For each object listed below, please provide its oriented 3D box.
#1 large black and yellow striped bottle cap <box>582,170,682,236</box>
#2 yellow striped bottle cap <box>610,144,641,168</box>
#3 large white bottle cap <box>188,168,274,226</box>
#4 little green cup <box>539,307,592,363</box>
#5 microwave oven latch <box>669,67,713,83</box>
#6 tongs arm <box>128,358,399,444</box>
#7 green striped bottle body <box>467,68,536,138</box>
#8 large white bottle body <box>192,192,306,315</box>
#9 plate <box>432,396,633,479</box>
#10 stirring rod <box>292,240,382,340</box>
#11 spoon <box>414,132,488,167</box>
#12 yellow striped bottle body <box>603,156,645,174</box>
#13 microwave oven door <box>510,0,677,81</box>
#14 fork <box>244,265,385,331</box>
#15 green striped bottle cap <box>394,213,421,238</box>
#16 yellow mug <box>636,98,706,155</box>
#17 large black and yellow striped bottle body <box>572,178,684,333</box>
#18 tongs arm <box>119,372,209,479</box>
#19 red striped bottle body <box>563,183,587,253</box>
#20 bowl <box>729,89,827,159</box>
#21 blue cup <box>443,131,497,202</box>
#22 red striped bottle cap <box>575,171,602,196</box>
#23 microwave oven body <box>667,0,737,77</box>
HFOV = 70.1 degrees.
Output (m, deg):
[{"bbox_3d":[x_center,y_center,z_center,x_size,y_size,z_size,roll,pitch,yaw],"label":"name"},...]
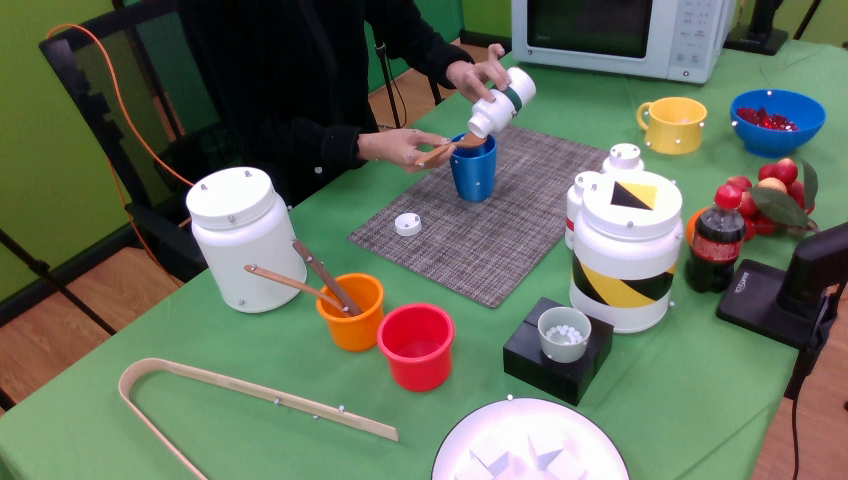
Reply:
[{"bbox_3d":[0.252,-0.048,0.735,0.115,0.019,0.114,-3,40,3],"label":"large black and yellow striped bottle cap"},{"bbox_3d":[0.307,-0.128,0.923,0.044,0.019,0.044,-6,39,5],"label":"yellow striped bottle cap"},{"bbox_3d":[-0.264,-0.061,0.831,0.115,0.018,0.114,-4,40,4],"label":"large white bottle cap"},{"bbox_3d":[0.168,0.115,0.721,0.061,0.039,0.061,-4,42,4],"label":"little green cup"},{"bbox_3d":[0.556,-0.348,1.261,0.078,0.029,0.030,16,46,27],"label":"microwave oven latch"},{"bbox_3d":[-0.213,0.205,0.755,0.382,0.026,0.051,12,46,23],"label":"tongs arm"},{"bbox_3d":[0.126,-0.224,1.008,0.119,0.063,0.062,-47,50,-12],"label":"green striped bottle body"},{"bbox_3d":[-0.256,0.004,0.885,0.130,0.185,0.130,-4,40,4],"label":"large white bottle body"},{"bbox_3d":[0.112,0.261,0.634,0.209,0.038,0.208,-5,40,4],"label":"plate"},{"bbox_3d":[-0.119,0.068,0.826,0.176,0.006,0.014,49,59,-4],"label":"stirring rod"},{"bbox_3d":[0.042,-0.145,0.951,0.041,0.021,0.195,24,30,28],"label":"spoon"},{"bbox_3d":[0.313,-0.089,0.956,0.063,0.121,0.062,-5,40,4],"label":"yellow striped bottle body"},{"bbox_3d":[0.354,-0.478,1.290,0.353,0.245,0.039,15,45,25],"label":"microwave oven door"},{"bbox_3d":[-0.142,0.078,0.806,0.209,0.018,0.028,30,32,-23],"label":"fork"},{"bbox_3d":[-0.028,-0.025,1.009,0.044,0.020,0.044,-2,43,3],"label":"green striped bottle cap"},{"bbox_3d":[0.453,-0.217,1.129,0.100,0.064,0.129,-34,46,-27],"label":"yellow mug"},{"bbox_3d":[0.262,0.017,0.788,0.131,0.185,0.130,-5,40,4],"label":"large black and yellow striped bottle body"},{"bbox_3d":[-0.258,0.257,0.700,0.384,0.028,0.028,24,55,34],"label":"tongs arm"},{"bbox_3d":[0.246,-0.041,0.910,0.063,0.120,0.062,-2,38,2],"label":"red striped bottle body"},{"bbox_3d":[0.615,-0.197,1.069,0.151,0.077,0.150,-5,40,5],"label":"bowl"},{"bbox_3d":[0.086,-0.122,1.040,0.092,0.101,0.092,-5,42,5],"label":"blue cup"},{"bbox_3d":[0.242,-0.081,0.876,0.044,0.018,0.044,-5,44,5],"label":"red striped bottle cap"},{"bbox_3d":[0.462,-0.552,1.369,0.439,0.261,0.326,15,45,26],"label":"microwave oven body"}]
